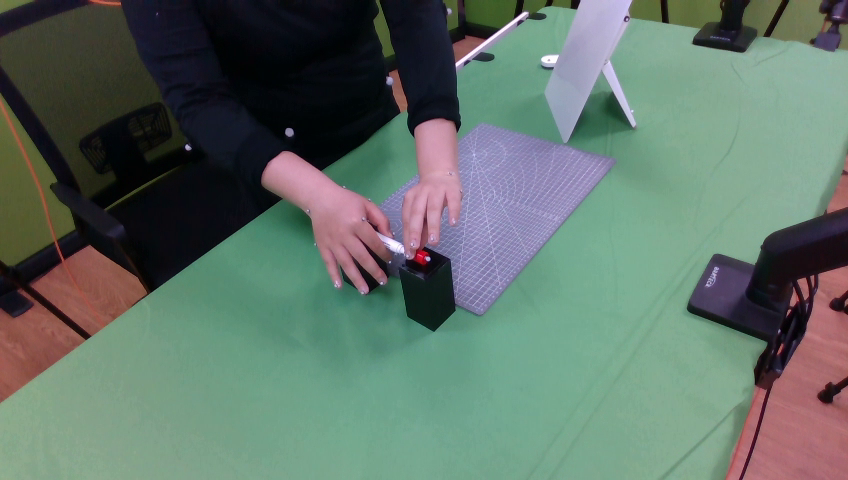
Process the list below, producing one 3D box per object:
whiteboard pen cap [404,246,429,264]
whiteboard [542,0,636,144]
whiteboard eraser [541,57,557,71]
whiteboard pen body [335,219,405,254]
[{"bbox_3d":[-0.011,0.019,0.797,0.032,0.017,0.017,23,49,34],"label":"whiteboard pen cap"},{"bbox_3d":[0.366,-0.351,1.160,0.144,0.305,0.216,10,39,-10],"label":"whiteboard"},{"bbox_3d":[0.323,-0.412,1.407,0.101,0.019,0.041,1,41,11],"label":"whiteboard eraser"},{"bbox_3d":[-0.068,-0.002,0.833,0.139,0.017,0.017,22,48,31],"label":"whiteboard pen body"}]
